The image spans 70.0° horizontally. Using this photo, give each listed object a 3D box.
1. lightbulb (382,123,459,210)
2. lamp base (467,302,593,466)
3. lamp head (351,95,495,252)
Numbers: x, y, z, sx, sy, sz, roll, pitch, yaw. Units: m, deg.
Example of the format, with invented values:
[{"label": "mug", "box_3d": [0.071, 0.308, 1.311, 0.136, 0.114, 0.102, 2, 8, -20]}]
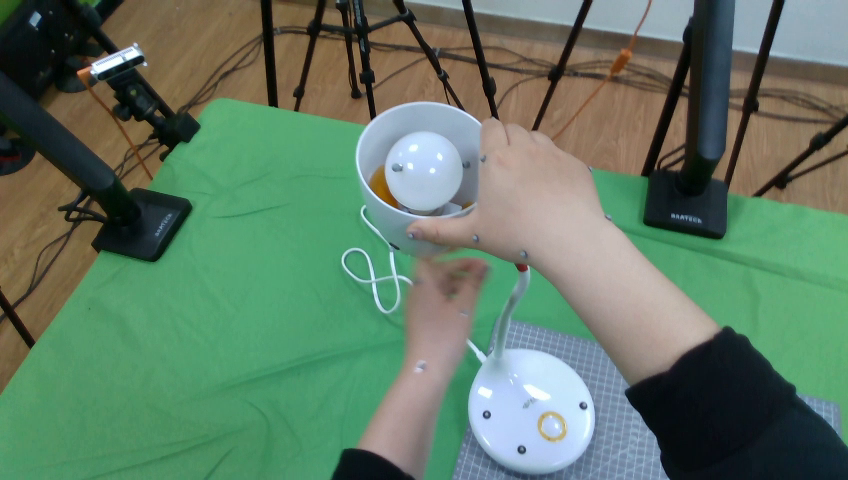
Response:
[{"label": "lightbulb", "box_3d": [-0.002, -0.050, 0.486, 0.059, 0.108, 0.059, 0, 66, 1]}, {"label": "lamp base", "box_3d": [0.121, 0.157, 0.718, 0.177, 0.182, 0.160, 37, 65, 27]}, {"label": "lamp head", "box_3d": [0.001, -0.041, 0.510, 0.112, 0.124, 0.111, -1, 61, 2]}]
